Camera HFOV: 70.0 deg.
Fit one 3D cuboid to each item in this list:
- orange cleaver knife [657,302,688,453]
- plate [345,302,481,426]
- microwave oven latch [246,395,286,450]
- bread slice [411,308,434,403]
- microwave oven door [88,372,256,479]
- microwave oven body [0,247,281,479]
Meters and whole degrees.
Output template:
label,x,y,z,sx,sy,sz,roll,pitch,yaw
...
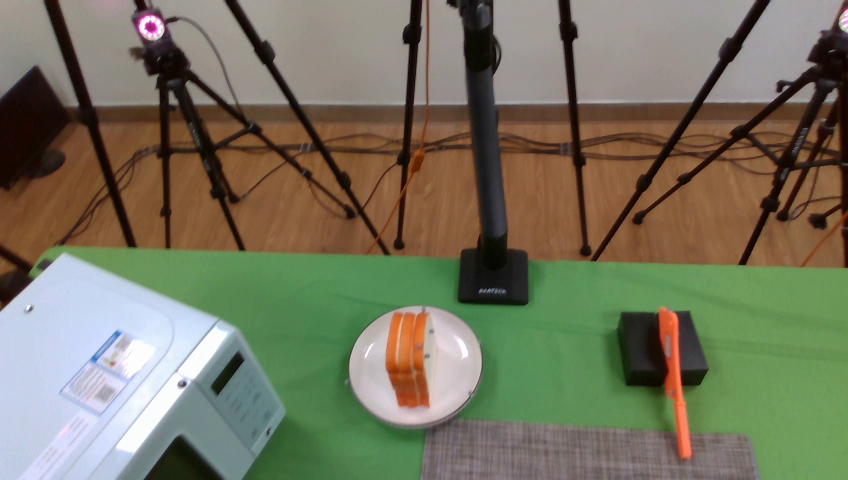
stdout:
label,x,y,z,sx,sy,sz,roll,pitch,yaw
orange cleaver knife,0.352,0.191,0.865,0.012,0.077,0.210,-3,80,3
plate,-0.015,0.192,0.934,0.207,0.039,0.205,-2,50,3
microwave oven latch,-0.232,0.259,0.874,0.030,0.030,0.079,19,56,19
bread slice,-0.001,0.165,0.883,0.018,0.135,0.106,-1,54,7
microwave oven door,-0.339,0.349,0.677,0.039,0.246,0.354,18,54,20
microwave oven body,-0.451,0.279,0.752,0.324,0.263,0.439,19,55,19
